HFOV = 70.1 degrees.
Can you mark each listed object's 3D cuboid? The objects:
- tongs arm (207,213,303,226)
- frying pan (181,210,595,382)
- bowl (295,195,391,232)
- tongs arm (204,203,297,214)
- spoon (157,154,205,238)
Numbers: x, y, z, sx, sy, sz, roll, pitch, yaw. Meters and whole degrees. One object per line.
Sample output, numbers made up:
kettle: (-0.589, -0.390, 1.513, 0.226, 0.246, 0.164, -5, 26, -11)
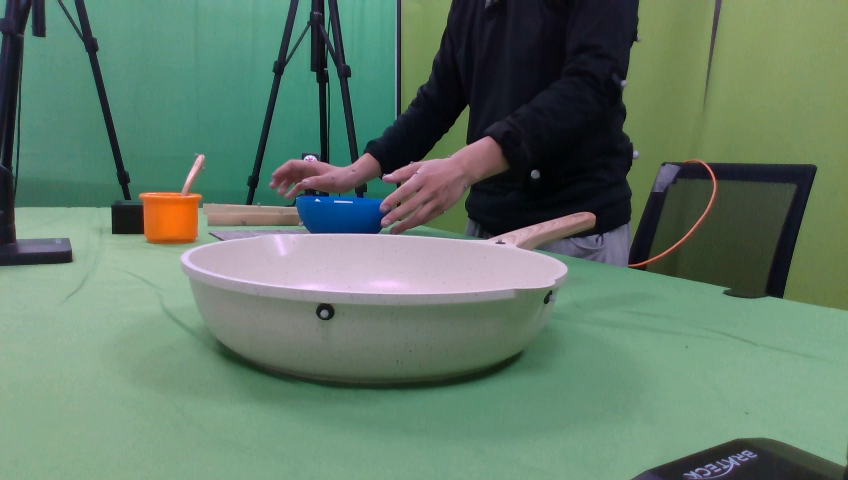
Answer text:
tongs arm: (-0.264, -0.046, 1.297, 0.390, 0.028, 0.028, -2, 7, -32)
frying pan: (0.034, 0.019, 0.557, 0.305, 0.102, 0.490, 10, 19, 42)
bowl: (-0.127, -0.028, 0.946, 0.151, 0.077, 0.151, 2, 7, 0)
tongs arm: (-0.295, -0.062, 1.370, 0.386, 0.026, 0.050, 1, 9, -19)
spoon: (-0.392, -0.076, 0.998, 0.041, 0.193, 0.021, 1, -36, 5)
